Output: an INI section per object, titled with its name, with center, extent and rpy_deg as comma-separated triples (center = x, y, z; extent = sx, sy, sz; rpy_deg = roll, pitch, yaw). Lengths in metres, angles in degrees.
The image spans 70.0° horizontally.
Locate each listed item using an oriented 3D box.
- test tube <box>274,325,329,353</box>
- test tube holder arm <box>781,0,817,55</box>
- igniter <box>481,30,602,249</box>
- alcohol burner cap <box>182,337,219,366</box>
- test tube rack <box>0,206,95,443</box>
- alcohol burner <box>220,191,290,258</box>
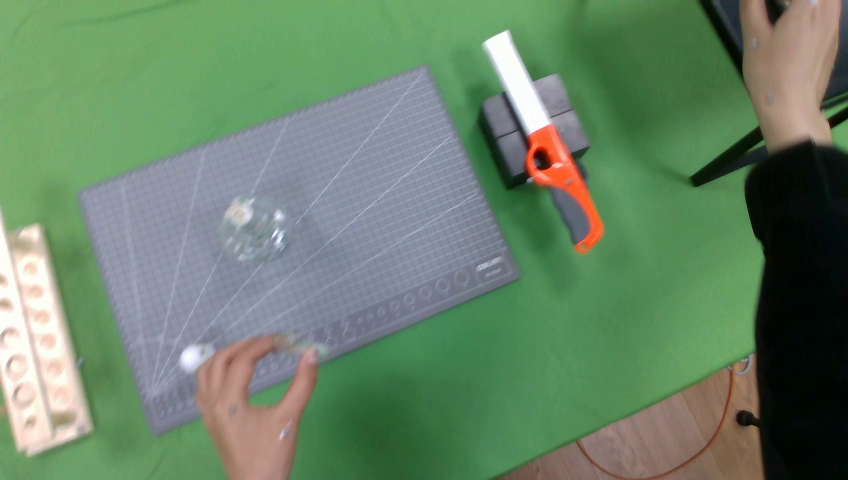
[test tube]
center = -0.105, 0.089, 0.537
extent = 0.017, 0.151, 0.017
rpy_deg = 0, 77, 2
[test tube holder arm]
center = 0.350, -0.266, 0.609
extent = 0.013, 0.015, 0.178
rpy_deg = -28, 81, 27
[igniter]
center = 0.136, -0.119, 0.698
extent = 0.057, 0.025, 0.275
rpy_deg = -25, 79, 4
[alcohol burner cap]
center = -0.248, 0.122, 0.665
extent = 0.034, 0.048, 0.033
rpy_deg = 1, 77, -3
[test tube rack]
center = -0.433, 0.090, 0.644
extent = 0.067, 0.085, 0.241
rpy_deg = -20, 80, -7
[alcohol burner]
center = -0.188, -0.021, 0.662
extent = 0.078, 0.119, 0.077
rpy_deg = 0, 79, -2
